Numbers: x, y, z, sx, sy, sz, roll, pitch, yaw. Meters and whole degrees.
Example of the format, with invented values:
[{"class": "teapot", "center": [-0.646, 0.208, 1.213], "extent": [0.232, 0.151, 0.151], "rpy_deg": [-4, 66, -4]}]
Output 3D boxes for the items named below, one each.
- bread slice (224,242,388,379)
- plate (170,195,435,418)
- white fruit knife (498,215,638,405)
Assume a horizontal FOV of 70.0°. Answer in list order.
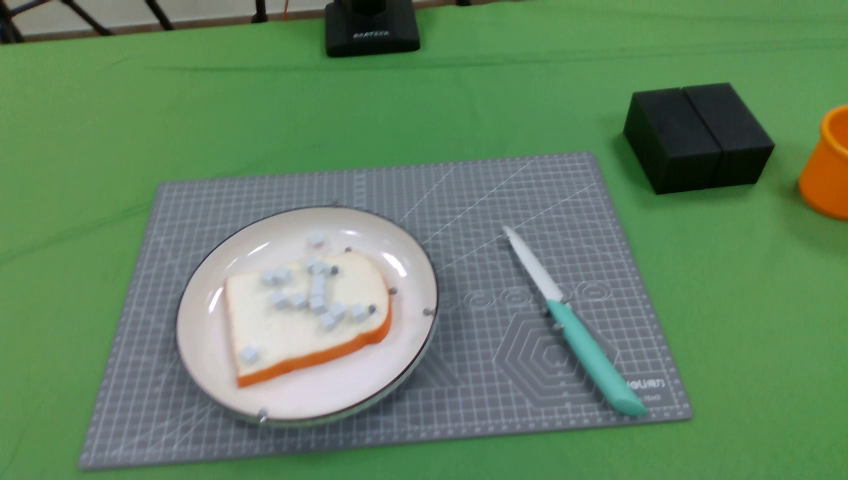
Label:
[{"class": "bread slice", "center": [-0.097, 0.047, 0.498], "extent": [0.132, 0.019, 0.103], "rpy_deg": [-16, 52, -11]}, {"class": "plate", "center": [-0.095, 0.050, 0.493], "extent": [0.209, 0.038, 0.207], "rpy_deg": [0, 51, 1]}, {"class": "white fruit knife", "center": [0.109, 0.049, 0.504], "extent": [0.027, 0.016, 0.205], "rpy_deg": [4, 41, -34]}]
